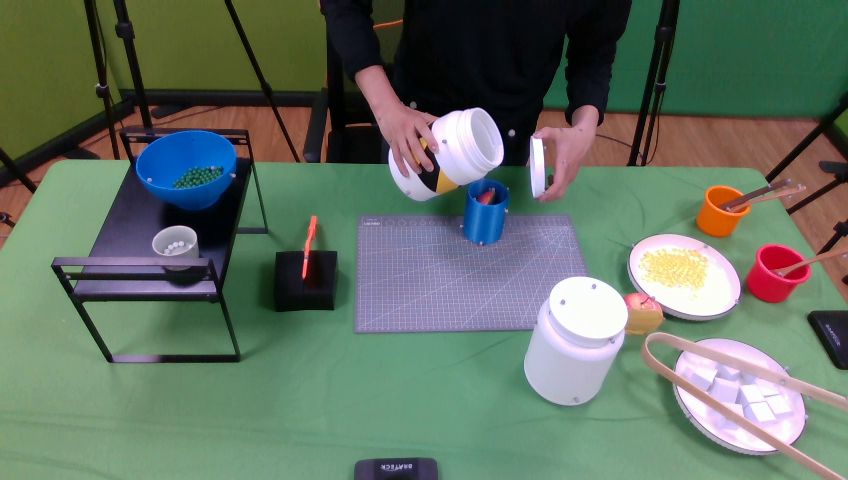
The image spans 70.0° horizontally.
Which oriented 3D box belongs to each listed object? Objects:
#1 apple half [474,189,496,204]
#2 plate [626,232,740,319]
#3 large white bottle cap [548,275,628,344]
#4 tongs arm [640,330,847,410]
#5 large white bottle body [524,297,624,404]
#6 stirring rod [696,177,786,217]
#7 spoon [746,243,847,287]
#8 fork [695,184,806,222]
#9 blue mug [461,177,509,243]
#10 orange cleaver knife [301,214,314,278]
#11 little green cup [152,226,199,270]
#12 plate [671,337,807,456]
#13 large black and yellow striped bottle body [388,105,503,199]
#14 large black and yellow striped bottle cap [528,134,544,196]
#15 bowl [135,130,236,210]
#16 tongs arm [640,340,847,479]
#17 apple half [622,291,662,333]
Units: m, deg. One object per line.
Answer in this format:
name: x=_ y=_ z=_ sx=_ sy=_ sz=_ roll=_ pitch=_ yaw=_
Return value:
apple half: x=0.109 y=-0.067 z=1.200 sx=0.032 sy=0.081 sz=0.081 roll=29 pitch=50 yaw=12
plate: x=0.489 y=0.070 z=1.157 sx=0.209 sy=0.038 sz=0.208 roll=3 pitch=46 yaw=-3
large white bottle cap: x=0.240 y=0.100 z=0.890 sx=0.115 sy=0.018 sz=0.114 roll=3 pitch=47 yaw=-3
tongs arm: x=0.543 y=0.225 z=0.969 sx=0.384 sy=0.026 sz=0.050 roll=22 pitch=52 yaw=13
large white bottle body: x=0.235 y=0.159 z=0.952 sx=0.131 sy=0.185 sz=0.130 roll=2 pitch=47 yaw=-2
stirring rod: x=0.648 y=-0.087 z=1.244 sx=0.176 sy=0.006 sz=0.014 roll=-25 pitch=50 yaw=29
spoon: x=0.702 y=0.044 z=1.126 sx=0.194 sy=0.022 sz=0.041 roll=-29 pitch=38 yaw=30
fork: x=0.658 y=-0.074 z=1.230 sx=0.207 sy=0.019 sz=0.028 roll=-24 pitch=33 yaw=36
blue mug: x=0.114 y=-0.070 z=1.210 sx=0.082 sy=0.106 sz=0.115 roll=-12 pitch=48 yaw=-15
orange cleaver knife: x=-0.218 y=0.008 z=1.131 sx=0.012 sy=0.077 sz=0.210 roll=7 pitch=19 yaw=-9
little green cup: x=-0.364 y=0.013 z=0.894 sx=0.061 sy=0.039 sz=0.061 roll=3 pitch=46 yaw=-3
plate: x=0.504 y=0.254 z=0.984 sx=0.208 sy=0.039 sz=0.206 roll=2 pitch=46 yaw=-2
large black and yellow striped bottle body: x=0.040 y=-0.162 z=1.111 sx=0.184 sy=0.131 sz=0.130 roll=-20 pitch=34 yaw=36
large black and yellow striped bottle cap: x=0.207 y=-0.139 z=1.122 sx=0.019 sy=0.115 sz=0.114 roll=-3 pitch=46 yaw=5
bowl: x=-0.375 y=-0.102 z=0.978 sx=0.151 sy=0.077 sz=0.150 roll=2 pitch=46 yaw=-2
tongs arm: x=0.500 y=0.277 z=0.919 sx=0.386 sy=0.028 sz=0.028 roll=34 pitch=59 yaw=22
apple half: x=0.372 y=0.124 z=1.074 sx=0.081 sy=0.075 sz=0.053 roll=0 pitch=42 yaw=1
